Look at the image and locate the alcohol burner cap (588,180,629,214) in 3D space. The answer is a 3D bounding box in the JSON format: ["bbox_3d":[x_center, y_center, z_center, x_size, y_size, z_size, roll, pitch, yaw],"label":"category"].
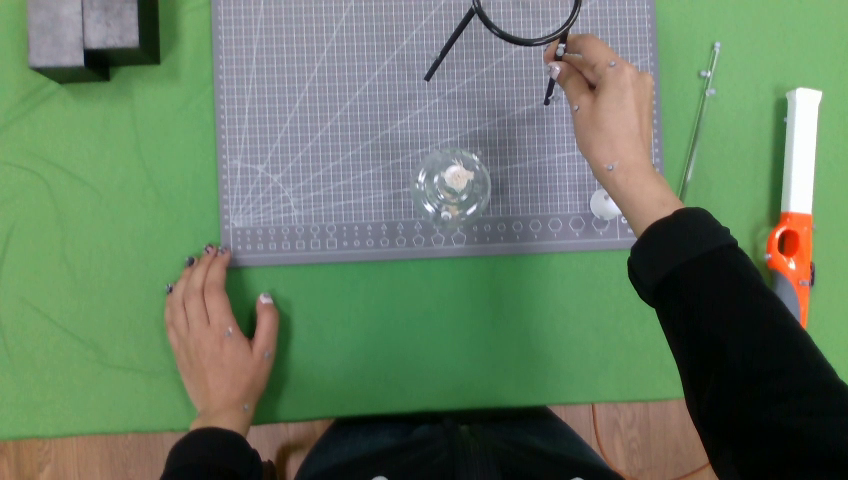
[{"bbox_3d":[0.185,-0.043,0.601,0.034,0.048,0.034,0,88,-2],"label":"alcohol burner cap"}]

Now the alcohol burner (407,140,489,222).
[{"bbox_3d":[0.024,-0.057,0.558,0.078,0.119,0.078,0,87,-3],"label":"alcohol burner"}]

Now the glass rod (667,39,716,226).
[{"bbox_3d":[0.277,-0.112,0.627,0.008,0.008,0.199,14,89,-3],"label":"glass rod"}]

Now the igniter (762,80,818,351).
[{"bbox_3d":[0.375,-0.024,0.621,0.057,0.025,0.276,5,89,-14],"label":"igniter"}]

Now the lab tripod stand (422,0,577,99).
[{"bbox_3d":[0.070,-0.195,0.535,0.148,0.131,0.148,1,84,-5],"label":"lab tripod stand"}]
